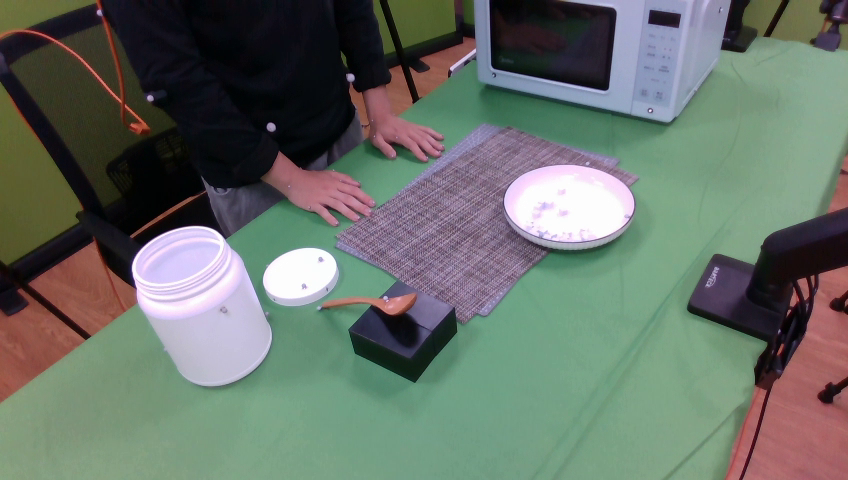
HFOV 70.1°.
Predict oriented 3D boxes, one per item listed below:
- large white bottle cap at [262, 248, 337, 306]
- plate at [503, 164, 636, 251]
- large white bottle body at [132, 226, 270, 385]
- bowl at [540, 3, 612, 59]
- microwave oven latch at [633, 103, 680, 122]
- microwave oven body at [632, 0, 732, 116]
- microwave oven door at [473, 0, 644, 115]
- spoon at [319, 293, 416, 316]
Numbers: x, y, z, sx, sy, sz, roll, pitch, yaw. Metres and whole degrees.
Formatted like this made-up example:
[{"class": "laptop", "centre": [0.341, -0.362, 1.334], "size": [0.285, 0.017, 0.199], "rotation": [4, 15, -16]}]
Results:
[{"class": "large white bottle cap", "centre": [-0.192, 0.056, 0.934], "size": [0.115, 0.018, 0.114], "rotation": [-4, 41, 4]}, {"class": "plate", "centre": [0.232, -0.051, 0.976], "size": [0.209, 0.038, 0.208], "rotation": [-3, 41, 3]}, {"class": "large white bottle body", "centre": [-0.286, 0.085, 0.784], "size": [0.130, 0.185, 0.130], "rotation": [-4, 41, 4]}, {"class": "bowl", "centre": [0.323, -0.441, 1.298], "size": [0.151, 0.077, 0.150], "rotation": [-4, 41, 4]}, {"class": "microwave oven latch", "centre": [0.444, -0.249, 1.157], "size": [0.078, 0.029, 0.030], "rotation": [21, 48, 30]}, {"class": "microwave oven body", "centre": [0.377, -0.462, 1.267], "size": [0.438, 0.261, 0.327], "rotation": [21, 48, 30]}, {"class": "microwave oven door", "centre": [0.257, -0.396, 1.199], "size": [0.353, 0.245, 0.039], "rotation": [21, 48, 29]}, {"class": "spoon", "centre": [-0.082, 0.086, 0.826], "size": [0.192, 0.022, 0.041], "rotation": [-3, 36, 41]}]
